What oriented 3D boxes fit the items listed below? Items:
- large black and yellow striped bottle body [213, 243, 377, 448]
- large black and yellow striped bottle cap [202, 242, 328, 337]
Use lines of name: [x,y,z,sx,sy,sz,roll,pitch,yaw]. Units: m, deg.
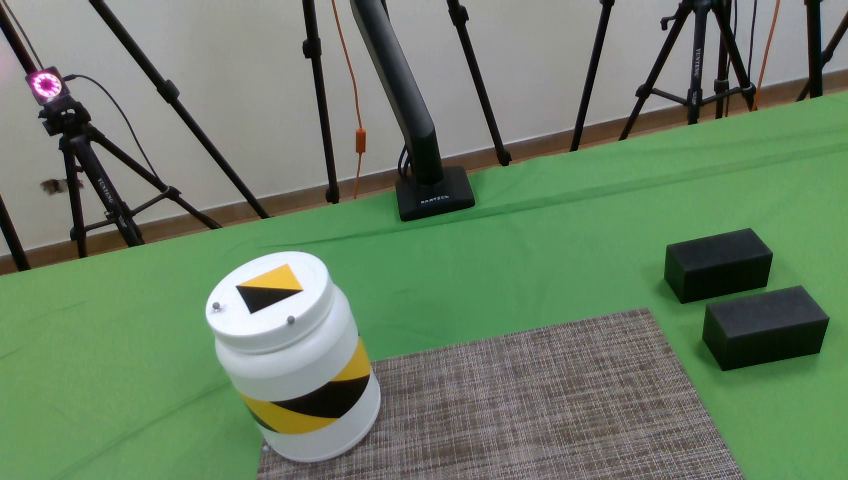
large black and yellow striped bottle body: [-0.129,0.106,0.612,0.130,0.186,0.129,-8,38,7]
large black and yellow striped bottle cap: [-0.146,0.042,0.560,0.115,0.019,0.114,-7,37,6]
